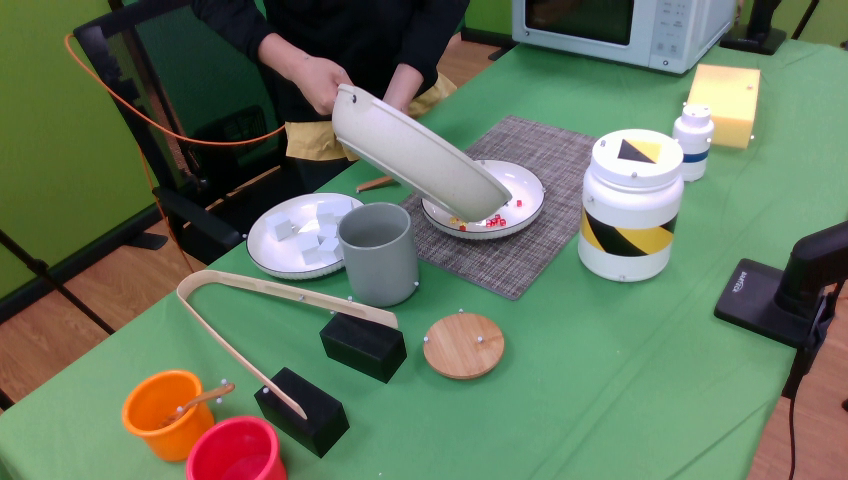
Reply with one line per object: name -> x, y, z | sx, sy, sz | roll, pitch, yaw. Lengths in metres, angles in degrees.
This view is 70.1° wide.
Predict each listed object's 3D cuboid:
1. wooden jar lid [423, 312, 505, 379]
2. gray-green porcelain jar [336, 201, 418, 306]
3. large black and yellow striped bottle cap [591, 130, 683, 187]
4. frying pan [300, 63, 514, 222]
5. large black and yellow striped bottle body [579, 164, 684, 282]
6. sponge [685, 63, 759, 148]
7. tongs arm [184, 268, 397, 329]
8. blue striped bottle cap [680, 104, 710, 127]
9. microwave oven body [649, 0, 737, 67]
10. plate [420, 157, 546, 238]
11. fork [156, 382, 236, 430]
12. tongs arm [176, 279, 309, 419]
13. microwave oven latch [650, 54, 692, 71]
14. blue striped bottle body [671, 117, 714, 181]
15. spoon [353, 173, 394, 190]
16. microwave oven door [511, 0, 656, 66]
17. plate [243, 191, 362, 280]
wooden jar lid -> 0.053, 0.142, 0.800 | 0.108, 0.021, 0.108 | -5, 40, 4
gray-green porcelain jar -> -0.064, 0.024, 0.872 | 0.106, 0.127, 0.105 | -4, 40, 4
large black and yellow striped bottle cap -> 0.282, -0.111, 0.803 | 0.115, 0.019, 0.114 | -3, 41, 3
frying pan -> -0.069, -0.172, 0.926 | 0.102, 0.309, 0.483 | -50, 51, 7
large black and yellow striped bottle body -> 0.291, -0.046, 0.858 | 0.131, 0.185, 0.130 | -4, 41, 4
sponge -> 0.569, -0.263, 1.164 | 0.117, 0.061, 0.207 | 12, 45, 22
tongs arm -> -0.202, 0.084, 0.847 | 0.382, 0.027, 0.051 | 11, 45, 34
blue striped bottle cap -> 0.443, -0.205, 0.989 | 0.044, 0.021, 0.044 | -1, 41, 2
microwave oven body -> 0.475, -0.602, 1.411 | 0.438, 0.261, 0.327 | 23, 50, 32
plate -> 0.099, -0.067, 1.017 | 0.209, 0.038, 0.208 | -4, 40, 4
fork -> -0.262, 0.189, 0.690 | 0.018, 0.206, 0.028 | 49, 43, -7
tongs arm -> -0.254, 0.133, 0.801 | 0.028, 0.028, 0.384 | -41, 41, -23
microwave oven latch -> 0.531, -0.386, 1.301 | 0.078, 0.029, 0.030 | 25, 51, 32
blue striped bottle body -> 0.449, -0.165, 1.022 | 0.063, 0.121, 0.063 | -5, 41, 4
spoon -> -0.037, -0.123, 1.116 | 0.194, 0.022, 0.041 | -12, 56, -3
microwave oven door -> 0.351, -0.540, 1.349 | 0.353, 0.245, 0.039 | 24, 50, 31
plate -> -0.187, -0.005, 0.992 | 0.207, 0.039, 0.206 | -4, 41, 4
